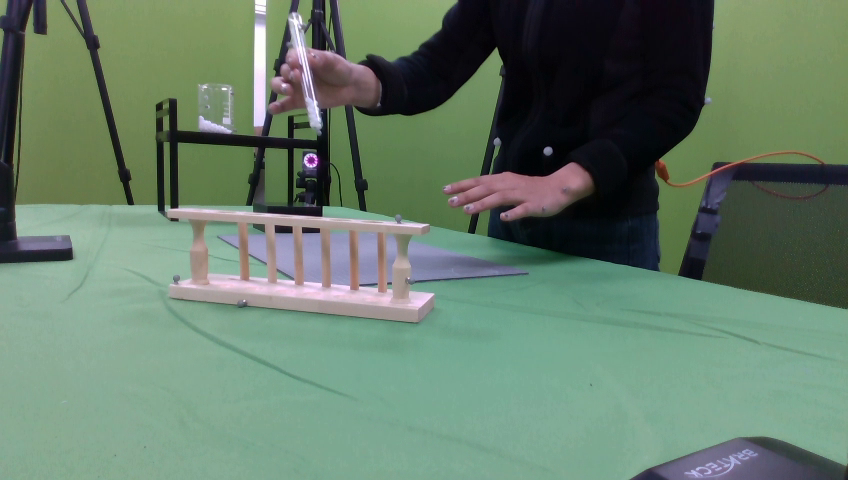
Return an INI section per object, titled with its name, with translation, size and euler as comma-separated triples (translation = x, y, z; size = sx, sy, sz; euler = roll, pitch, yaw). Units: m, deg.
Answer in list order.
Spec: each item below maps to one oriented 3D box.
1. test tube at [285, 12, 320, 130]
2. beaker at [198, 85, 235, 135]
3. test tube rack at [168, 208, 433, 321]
[test tube]
translation = -0.144, -0.200, 0.716
size = 0.017, 0.150, 0.017
euler = -13, -11, -2
[beaker]
translation = -0.439, -0.273, 1.275
size = 0.074, 0.100, 0.084
euler = 5, 8, 19
[test tube rack]
translation = -0.115, 0.017, 0.574
size = 0.242, 0.085, 0.067
euler = 4, 8, 13
